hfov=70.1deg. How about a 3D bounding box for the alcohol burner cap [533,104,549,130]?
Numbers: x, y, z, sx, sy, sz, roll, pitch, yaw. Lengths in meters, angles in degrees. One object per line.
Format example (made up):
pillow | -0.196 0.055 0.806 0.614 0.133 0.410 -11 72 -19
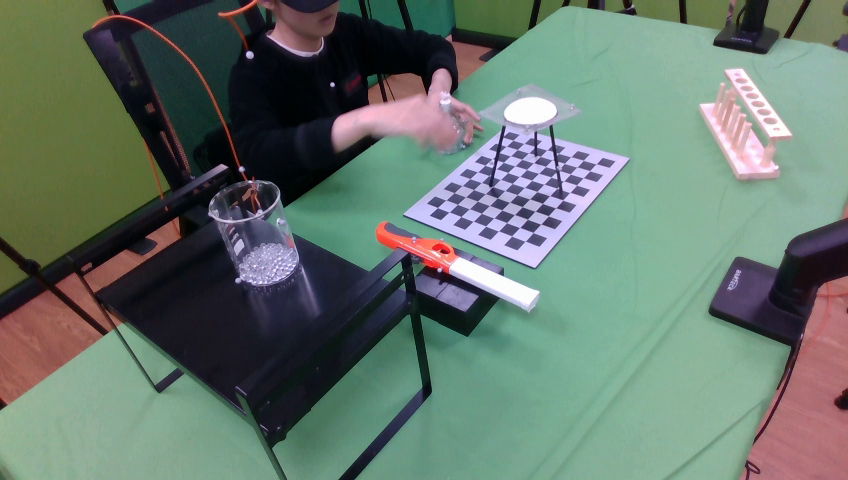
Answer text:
alcohol burner cap | 0.235 -0.251 1.217 0.034 0.048 0.033 -5 41 5

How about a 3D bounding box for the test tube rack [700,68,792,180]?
test tube rack | 0.572 -0.215 1.090 0.066 0.085 0.241 -3 41 7

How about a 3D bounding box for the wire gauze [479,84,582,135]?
wire gauze | 0.176 -0.216 1.006 0.125 0.011 0.120 -29 46 -22

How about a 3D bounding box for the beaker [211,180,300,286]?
beaker | -0.183 -0.007 0.674 0.074 0.101 0.083 -1 40 7

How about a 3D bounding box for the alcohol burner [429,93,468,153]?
alcohol burner | 0.046 -0.229 1.165 0.078 0.119 0.077 -3 40 3

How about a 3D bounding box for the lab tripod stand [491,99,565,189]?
lab tripod stand | 0.184 -0.163 1.046 0.148 0.132 0.147 -5 42 5

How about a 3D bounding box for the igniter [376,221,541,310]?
igniter | 0.037 0.030 0.858 0.274 0.025 0.057 24 46 29
